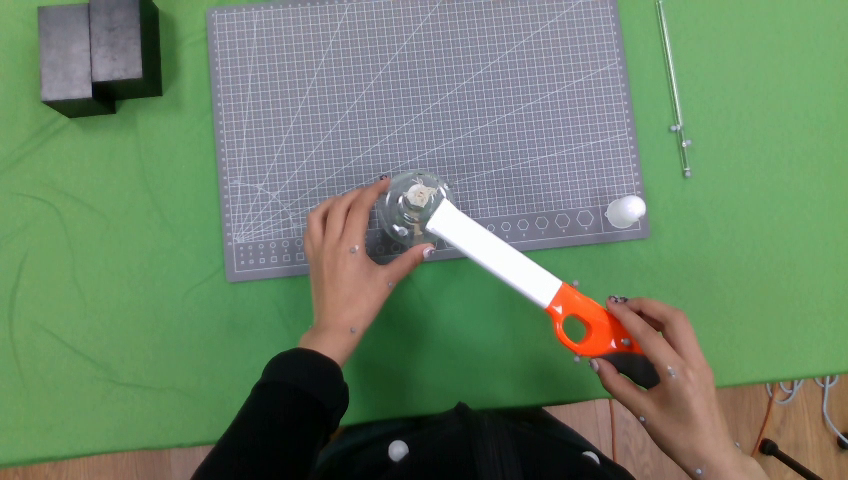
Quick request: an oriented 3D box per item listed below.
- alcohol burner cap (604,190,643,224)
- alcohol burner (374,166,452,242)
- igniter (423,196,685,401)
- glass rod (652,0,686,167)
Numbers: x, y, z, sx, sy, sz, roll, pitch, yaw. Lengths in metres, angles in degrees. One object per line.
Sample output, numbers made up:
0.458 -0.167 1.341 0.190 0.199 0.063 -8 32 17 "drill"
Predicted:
0.211 -0.036 0.633 0.034 0.048 0.034 0 83 -2 "alcohol burner cap"
-0.010 -0.038 0.589 0.078 0.119 0.077 0 81 -3 "alcohol burner"
0.119 0.053 0.534 0.277 0.025 0.057 35 81 -4 "igniter"
0.271 -0.178 0.669 0.008 0.008 0.199 -7 84 -3 "glass rod"
